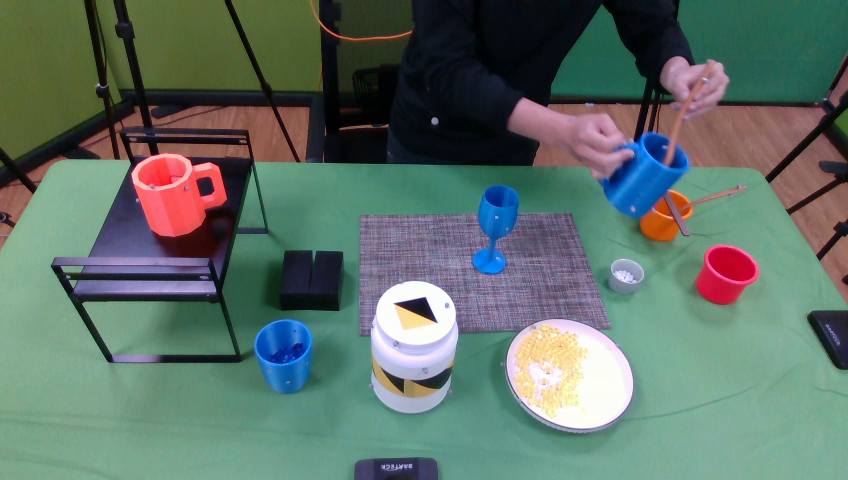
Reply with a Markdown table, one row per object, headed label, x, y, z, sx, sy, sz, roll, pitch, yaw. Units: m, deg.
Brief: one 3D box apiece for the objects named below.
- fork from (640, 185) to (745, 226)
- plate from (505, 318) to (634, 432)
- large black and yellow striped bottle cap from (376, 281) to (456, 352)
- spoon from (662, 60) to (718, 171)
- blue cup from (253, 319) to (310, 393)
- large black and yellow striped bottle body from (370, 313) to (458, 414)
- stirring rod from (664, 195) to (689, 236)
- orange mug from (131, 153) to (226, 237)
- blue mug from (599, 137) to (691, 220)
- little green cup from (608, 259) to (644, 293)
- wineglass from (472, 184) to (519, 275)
| label | x | y | z | sx | sy | sz | roll | pitch | yaw |
| --- | --- | --- | --- | --- | --- | --- | --- | --- | --- |
| fork | 0.534 | -0.068 | 1.215 | 0.207 | 0.019 | 0.028 | -26 | 27 | 33 |
| plate | 0.235 | 0.221 | 0.991 | 0.209 | 0.038 | 0.208 | 2 | 45 | -2 |
| large black and yellow striped bottle cap | -0.011 | 0.107 | 0.863 | 0.115 | 0.019 | 0.114 | 2 | 47 | -2 |
| spoon | 0.389 | -0.174 | 0.905 | 0.021 | 0.194 | 0.041 | 21 | 20 | 14 |
| blue cup | -0.217 | 0.187 | 0.943 | 0.093 | 0.101 | 0.092 | 4 | 45 | -3 |
| large black and yellow striped bottle body | -0.017 | 0.165 | 0.924 | 0.131 | 0.185 | 0.130 | 2 | 46 | -2 |
| stirring rod | 0.491 | -0.071 | 1.211 | 0.014 | 0.006 | 0.175 | -1 | 47 | -5 |
| orange mug | -0.375 | -0.075 | 0.937 | 0.126 | 0.101 | 0.083 | -20 | 50 | -17 |
| blue mug | 0.330 | -0.099 | 0.939 | 0.117 | 0.106 | 0.082 | 17 | 48 | -9 |
| little green cup | 0.379 | 0.070 | 1.147 | 0.061 | 0.039 | 0.061 | 3 | 45 | -2 |
| wineglass | 0.129 | -0.018 | 1.113 | 0.074 | 0.173 | 0.073 | 2 | 46 | -2 |
